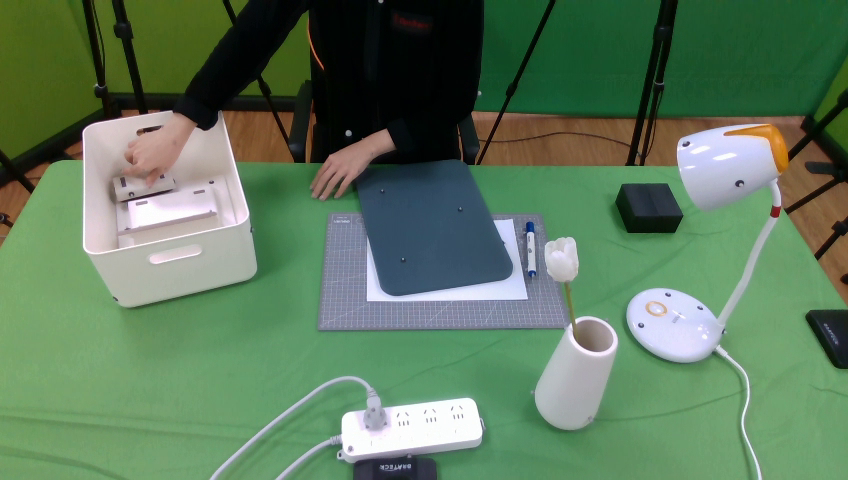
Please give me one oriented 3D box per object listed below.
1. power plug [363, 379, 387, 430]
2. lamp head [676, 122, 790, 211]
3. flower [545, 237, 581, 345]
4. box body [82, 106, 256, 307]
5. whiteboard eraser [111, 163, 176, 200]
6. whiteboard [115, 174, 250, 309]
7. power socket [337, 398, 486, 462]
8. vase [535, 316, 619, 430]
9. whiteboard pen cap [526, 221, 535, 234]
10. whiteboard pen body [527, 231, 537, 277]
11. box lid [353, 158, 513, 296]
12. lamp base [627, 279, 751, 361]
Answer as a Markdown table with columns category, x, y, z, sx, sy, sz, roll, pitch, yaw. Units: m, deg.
| category | x | y | z | sx | sy | sz | roll | pitch | yaw |
| --- | --- | --- | --- | --- | --- | --- | --- | --- | --- |
| power plug | -0.071 | 0.252 | 0.911 | 0.035 | 0.053 | 0.072 | 3 | 40 | 0 |
| lamp head | 0.423 | -0.104 | 0.819 | 0.122 | 0.113 | 0.112 | -13 | 33 | 40 |
| flower | 0.213 | 0.137 | 0.846 | 0.038 | 0.364 | 0.044 | 21 | 55 | 40 |
| box body | -0.471 | -0.070 | 1.131 | 0.254 | 0.161 | 0.361 | -14 | 49 | -17 |
| whiteboard eraser | -0.568 | -0.117 | 1.229 | 0.113 | 0.042 | 0.055 | -17 | 61 | -23 |
| whiteboard | -0.473 | -0.055 | 1.130 | 0.217 | 0.144 | 0.303 | -14 | 50 | -16 |
| power socket | -0.018 | 0.285 | 0.914 | 0.227 | 0.033 | 0.071 | -4 | 46 | -8 |
| vase | 0.229 | 0.200 | 0.901 | 0.098 | 0.201 | 0.097 | 3 | 46 | -3 |
| whiteboard pen cap | 0.216 | -0.022 | 1.234 | 0.018 | 0.018 | 0.033 | 6 | 44 | 1 |
| whiteboard pen body | 0.211 | 0.018 | 1.191 | 0.017 | 0.017 | 0.140 | 6 | 44 | 2 |
| box lid | 0.008 | -0.039 | 1.242 | 0.264 | 0.015 | 0.369 | -8 | 47 | -12 |
| lamp base | 0.460 | 0.100 | 1.027 | 0.178 | 0.181 | 0.160 | 27 | 51 | 17 |
